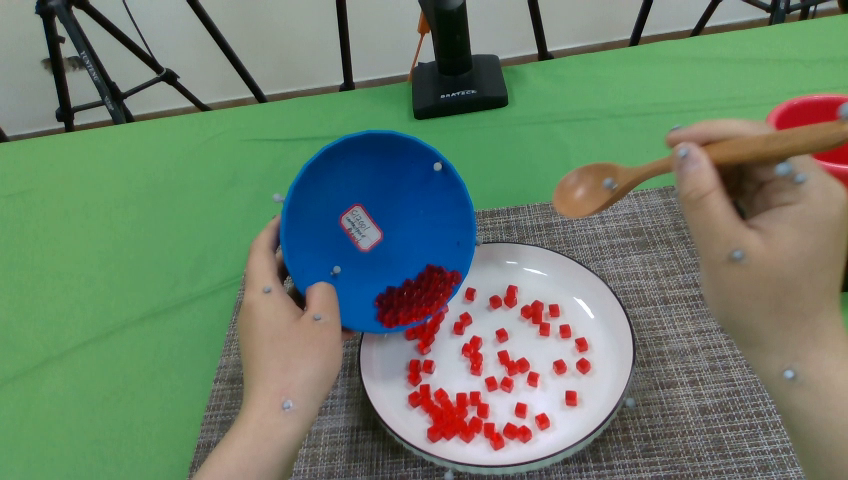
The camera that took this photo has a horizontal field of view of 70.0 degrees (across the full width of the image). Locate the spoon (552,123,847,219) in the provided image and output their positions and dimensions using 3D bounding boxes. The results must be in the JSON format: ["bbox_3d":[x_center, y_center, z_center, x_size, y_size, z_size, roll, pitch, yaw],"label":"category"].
[{"bbox_3d":[0.127,-0.036,0.322,0.022,0.193,0.041,21,81,-17],"label":"spoon"}]

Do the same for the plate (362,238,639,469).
[{"bbox_3d":[0.057,0.083,0.472,0.207,0.039,0.205,-6,44,6],"label":"plate"}]

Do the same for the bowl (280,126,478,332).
[{"bbox_3d":[-0.042,-0.009,0.475,0.151,0.152,0.076,-29,13,-18],"label":"bowl"}]
